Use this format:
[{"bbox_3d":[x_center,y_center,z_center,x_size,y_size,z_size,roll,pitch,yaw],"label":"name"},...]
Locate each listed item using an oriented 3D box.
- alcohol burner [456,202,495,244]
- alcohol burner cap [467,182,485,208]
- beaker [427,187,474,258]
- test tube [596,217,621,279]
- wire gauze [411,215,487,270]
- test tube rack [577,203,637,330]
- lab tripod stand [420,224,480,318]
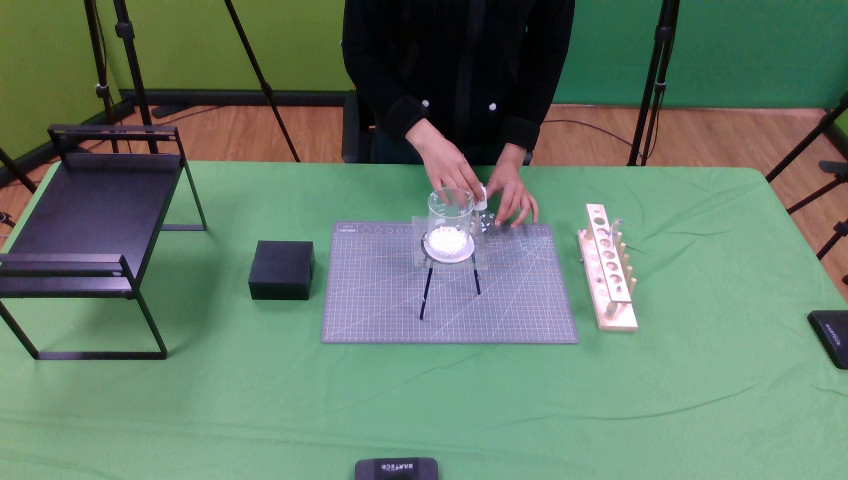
[{"bbox_3d":[0.102,-0.050,1.187,0.078,0.120,0.077,1,46,0],"label":"alcohol burner"},{"bbox_3d":[0.101,-0.088,1.153,0.034,0.048,0.033,5,38,-4],"label":"alcohol burner cap"},{"bbox_3d":[0.043,-0.027,0.989,0.084,0.101,0.073,-27,53,-26],"label":"beaker"},{"bbox_3d":[0.331,0.018,1.094,0.017,0.151,0.017,0,45,0],"label":"test tube"},{"bbox_3d":[0.041,0.003,1.026,0.125,0.011,0.120,0,46,-2],"label":"wire gauze"},{"bbox_3d":[0.348,0.045,1.139,0.067,0.085,0.241,2,46,-2],"label":"test tube rack"},{"bbox_3d":[0.034,0.051,1.071,0.148,0.132,0.147,3,48,-3],"label":"lab tripod stand"}]
